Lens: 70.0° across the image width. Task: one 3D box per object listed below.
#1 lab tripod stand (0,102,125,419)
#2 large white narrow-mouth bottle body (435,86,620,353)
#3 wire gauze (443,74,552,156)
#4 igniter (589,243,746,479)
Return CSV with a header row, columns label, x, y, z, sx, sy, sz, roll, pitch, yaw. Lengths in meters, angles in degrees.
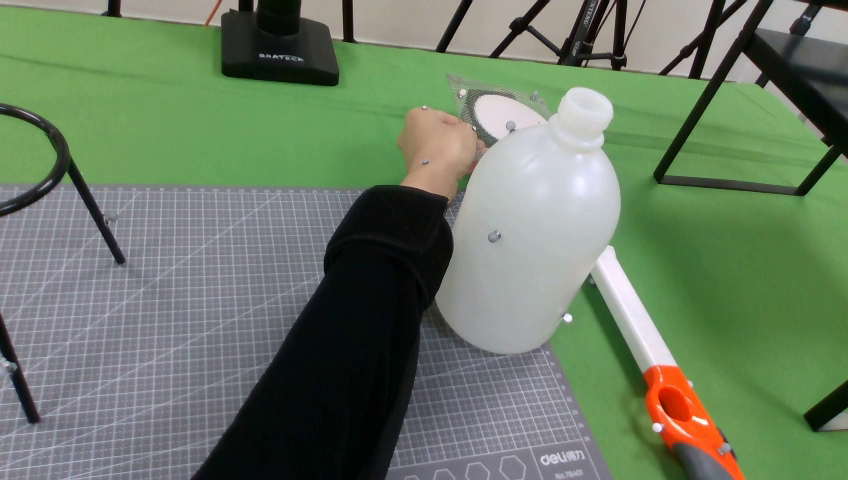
label,x,y,z,sx,sy,sz,roll,pitch,yaw
lab tripod stand,-0.234,0.005,0.335,0.149,0.132,0.147,11,44,-10
large white narrow-mouth bottle body,0.074,-0.014,0.414,0.102,0.196,0.101,9,44,-8
wire gauze,0.085,-0.117,0.588,0.122,0.011,0.123,4,45,-22
igniter,0.180,0.105,0.455,0.057,0.025,0.273,8,44,-26
